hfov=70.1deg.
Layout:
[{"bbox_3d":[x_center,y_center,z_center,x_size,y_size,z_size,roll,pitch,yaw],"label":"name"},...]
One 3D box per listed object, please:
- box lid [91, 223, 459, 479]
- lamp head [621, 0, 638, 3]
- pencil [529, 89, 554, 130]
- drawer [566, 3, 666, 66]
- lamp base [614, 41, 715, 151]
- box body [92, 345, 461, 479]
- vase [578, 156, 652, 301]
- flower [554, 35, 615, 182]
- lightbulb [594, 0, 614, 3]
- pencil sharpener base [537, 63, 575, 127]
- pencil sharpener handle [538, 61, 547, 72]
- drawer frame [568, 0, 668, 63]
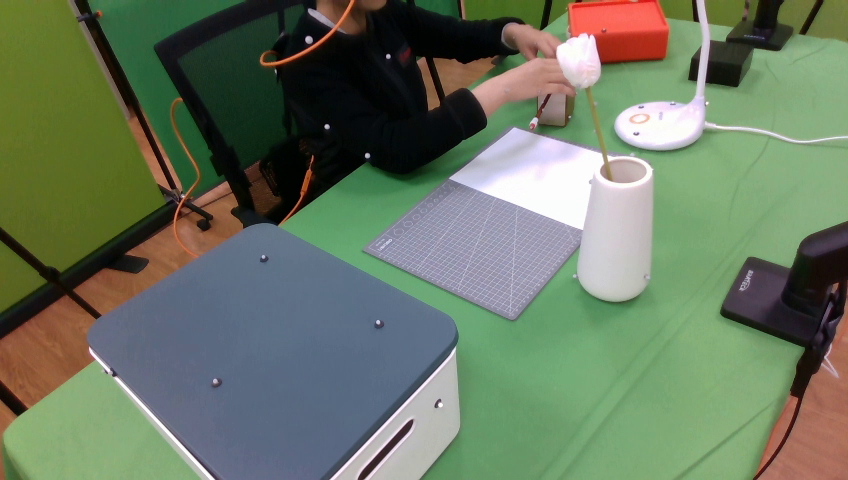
[{"bbox_3d":[-0.174,0.103,0.666,0.368,0.015,0.264,24,48,35],"label":"box lid"},{"bbox_3d":[0.319,-0.453,0.962,0.113,0.123,0.112,20,33,-13],"label":"lamp head"},{"bbox_3d":[0.231,-0.261,1.145,0.012,0.012,0.194,11,45,23],"label":"pencil"},{"bbox_3d":[0.448,-0.493,1.441,0.211,0.073,0.194,0,40,10],"label":"drawer"},{"bbox_3d":[0.449,-0.277,1.106,0.179,0.181,0.160,1,41,9],"label":"lamp base"},{"bbox_3d":[-0.162,0.170,0.708,0.361,0.161,0.255,25,50,34],"label":"box body"},{"bbox_3d":[0.261,-0.011,0.812,0.098,0.201,0.097,-4,40,4],"label":"vase"},{"bbox_3d":[0.237,-0.083,0.774,0.044,0.363,0.038,-22,26,6],"label":"flower"},{"bbox_3d":[0.305,-0.437,0.977,0.060,0.107,0.059,12,44,-11],"label":"lightbulb"},{"bbox_3d":[0.267,-0.292,1.216,0.061,0.107,0.076,10,43,23],"label":"pencil sharpener base"},{"bbox_3d":[0.269,-0.350,1.237,0.067,0.036,0.030,17,46,16],"label":"pencil sharpener handle"},{"bbox_3d":[0.450,-0.496,1.441,0.213,0.083,0.201,-1,40,9],"label":"drawer frame"}]
